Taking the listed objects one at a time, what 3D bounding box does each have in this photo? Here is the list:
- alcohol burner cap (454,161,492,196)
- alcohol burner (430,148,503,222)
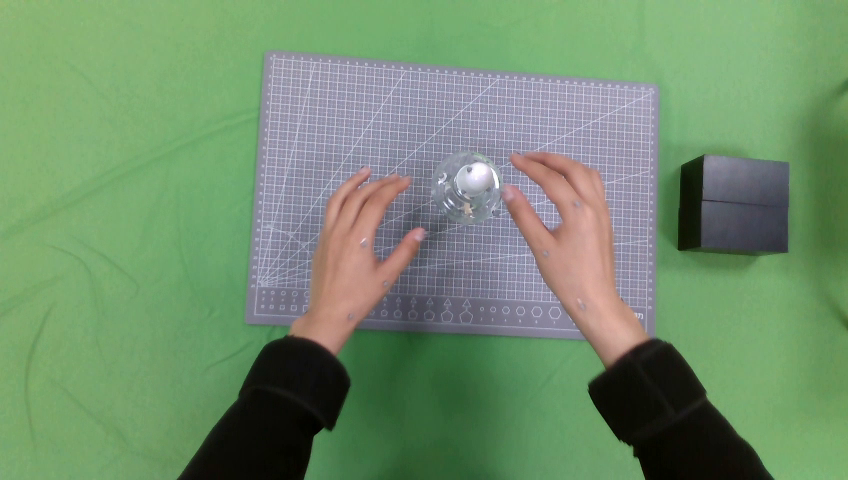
[{"bbox_3d":[0.049,-0.060,0.585,0.034,0.048,0.034,0,89,-8],"label":"alcohol burner cap"},{"bbox_3d":[0.046,-0.059,0.620,0.078,0.119,0.077,1,85,-7],"label":"alcohol burner"}]
